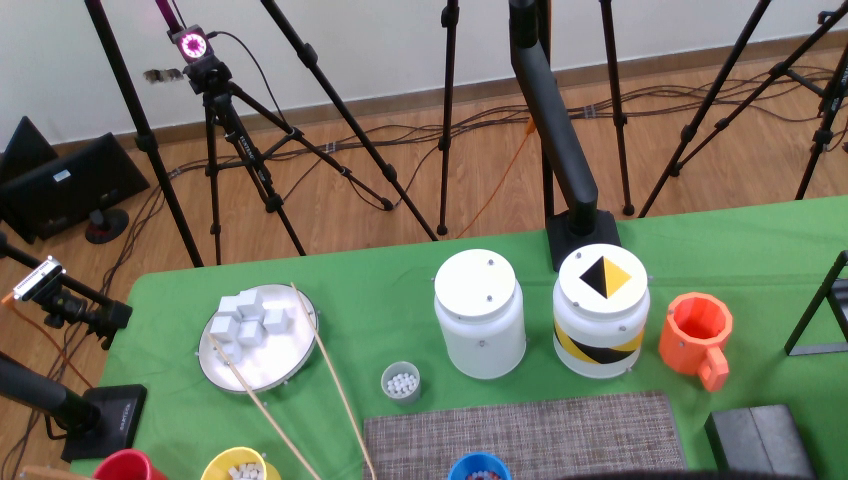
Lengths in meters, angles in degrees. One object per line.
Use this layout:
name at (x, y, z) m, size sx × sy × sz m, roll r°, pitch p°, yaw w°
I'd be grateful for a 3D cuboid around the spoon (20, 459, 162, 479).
spoon at (-0.475, 0.342, 0.876) m, size 0.195 × 0.021 × 0.041 m, roll 26°, pitch 53°, yaw -24°

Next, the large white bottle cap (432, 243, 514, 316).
large white bottle cap at (0.068, 0.054, 0.849) m, size 0.115 × 0.018 × 0.113 m, roll -6°, pitch 52°, yaw 8°

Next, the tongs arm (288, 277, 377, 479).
tongs arm at (-0.151, 0.212, 0.955) m, size 0.028 × 0.028 × 0.383 m, roll -22°, pitch 58°, yaw -15°

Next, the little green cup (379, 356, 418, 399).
little green cup at (-0.037, 0.218, 0.948) m, size 0.061 × 0.039 × 0.061 m, roll -5°, pitch 53°, yaw 7°

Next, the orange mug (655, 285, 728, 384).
orange mug at (0.395, 0.140, 0.880) m, size 0.083 × 0.102 × 0.125 m, roll -15°, pitch 47°, yaw 1°

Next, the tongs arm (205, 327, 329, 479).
tongs arm at (-0.220, 0.255, 0.933) m, size 0.051 × 0.027 × 0.381 m, roll -36°, pitch 62°, yaw -20°

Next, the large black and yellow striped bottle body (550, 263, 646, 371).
large black and yellow striped bottle body at (0.252, 0.098, 0.887) m, size 0.130 × 0.186 × 0.129 m, roll -6°, pitch 52°, yaw 8°

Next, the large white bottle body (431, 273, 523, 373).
large white bottle body at (0.082, 0.105, 0.916) m, size 0.130 × 0.186 × 0.129 m, roll -6°, pitch 52°, yaw 8°

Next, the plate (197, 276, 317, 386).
plate at (-0.283, 0.159, 1.044) m, size 0.207 × 0.039 × 0.205 m, roll -6°, pitch 53°, yaw 8°

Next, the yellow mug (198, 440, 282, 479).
yellow mug at (-0.275, 0.360, 0.871) m, size 0.099 × 0.064 × 0.130 m, roll 27°, pitch 64°, yaw 27°

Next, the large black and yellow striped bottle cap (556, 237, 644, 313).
large black and yellow striped bottle cap at (0.237, 0.045, 0.822) m, size 0.115 × 0.019 × 0.114 m, roll -5°, pitch 53°, yaw 7°

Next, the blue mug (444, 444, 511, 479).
blue mug at (0.085, 0.334, 0.786) m, size 0.082 × 0.107 × 0.115 m, roll -38°, pitch 55°, yaw -17°
